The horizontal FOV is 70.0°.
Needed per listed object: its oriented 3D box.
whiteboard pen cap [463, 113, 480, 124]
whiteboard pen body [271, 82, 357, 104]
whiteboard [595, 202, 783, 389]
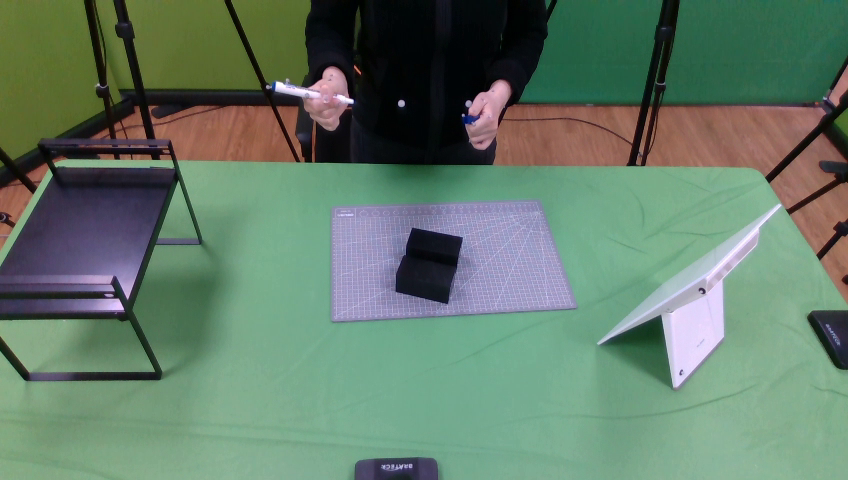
[{"bbox_3d":[0.089,-0.229,1.143,0.033,0.018,0.018,-22,51,-36],"label":"whiteboard pen cap"},{"bbox_3d":[-0.180,-0.239,0.996,0.141,0.017,0.017,7,44,-19],"label":"whiteboard pen body"},{"bbox_3d":[0.459,0.112,0.968,0.217,0.306,0.143,-31,74,-29],"label":"whiteboard"}]
